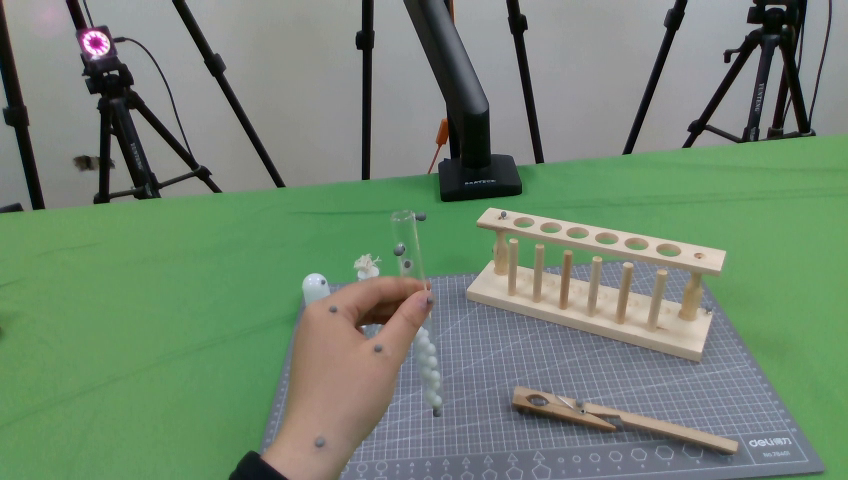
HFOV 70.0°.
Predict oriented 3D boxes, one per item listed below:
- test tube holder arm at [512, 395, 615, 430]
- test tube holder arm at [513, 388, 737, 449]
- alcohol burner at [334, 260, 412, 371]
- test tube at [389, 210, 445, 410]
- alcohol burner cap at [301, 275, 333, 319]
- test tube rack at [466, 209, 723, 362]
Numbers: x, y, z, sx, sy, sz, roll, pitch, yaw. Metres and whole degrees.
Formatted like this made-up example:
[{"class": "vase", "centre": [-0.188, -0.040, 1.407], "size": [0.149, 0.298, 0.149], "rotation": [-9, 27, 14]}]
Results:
[{"class": "test tube holder arm", "centre": [0.119, 0.148, 0.519], "size": [0.087, 0.015, 0.010], "rotation": [7, 69, 19]}, {"class": "test tube holder arm", "centre": [0.163, 0.148, 0.506], "size": [0.177, 0.015, 0.013], "rotation": [7, 68, 19]}, {"class": "alcohol burner", "centre": [-0.051, 0.068, 0.584], "size": [0.078, 0.120, 0.077], "rotation": [-3, 33, 2]}, {"class": "test tube", "centre": [-0.003, 0.052, 0.404], "size": [0.017, 0.151, 0.017], "rotation": [-8, 23, 4]}, {"class": "alcohol burner cap", "centre": [-0.121, 0.060, 0.677], "size": [0.034, 0.048, 0.033], "rotation": [-3, 33, 3]}, {"class": "test tube rack", "centre": [0.163, 0.039, 0.619], "size": [0.241, 0.086, 0.066], "rotation": [13, 37, 28]}]
